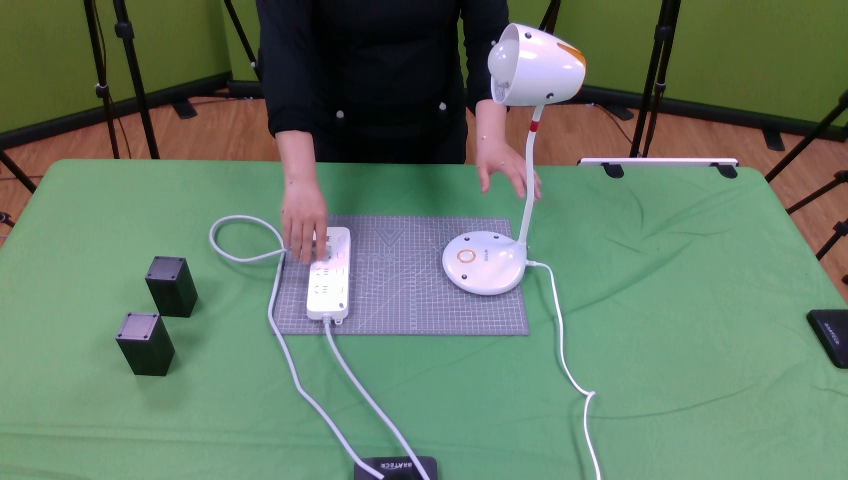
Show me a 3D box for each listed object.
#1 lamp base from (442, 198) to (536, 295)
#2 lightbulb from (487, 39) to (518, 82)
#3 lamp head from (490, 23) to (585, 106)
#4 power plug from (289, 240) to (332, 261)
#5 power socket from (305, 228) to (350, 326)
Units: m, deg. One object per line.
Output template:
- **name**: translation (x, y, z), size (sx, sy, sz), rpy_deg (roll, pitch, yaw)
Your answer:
- **lamp base**: translation (0.130, -0.012, 1.105), size (0.179, 0.181, 0.159), rpy_deg (-1, 46, -9)
- **lightbulb**: translation (0.143, -0.251, 0.865), size (0.108, 0.060, 0.059), rpy_deg (9, 45, -7)
- **lamp head**: translation (0.165, -0.241, 0.872), size (0.123, 0.113, 0.111), rpy_deg (9, 43, -17)
- **power plug**: translation (-0.207, 0.021, 1.123), size (0.072, 0.053, 0.035), rpy_deg (7, 45, 6)
- **power socket**: translation (-0.176, 0.059, 1.115), size (0.072, 0.033, 0.225), rpy_deg (-1, 46, -4)
